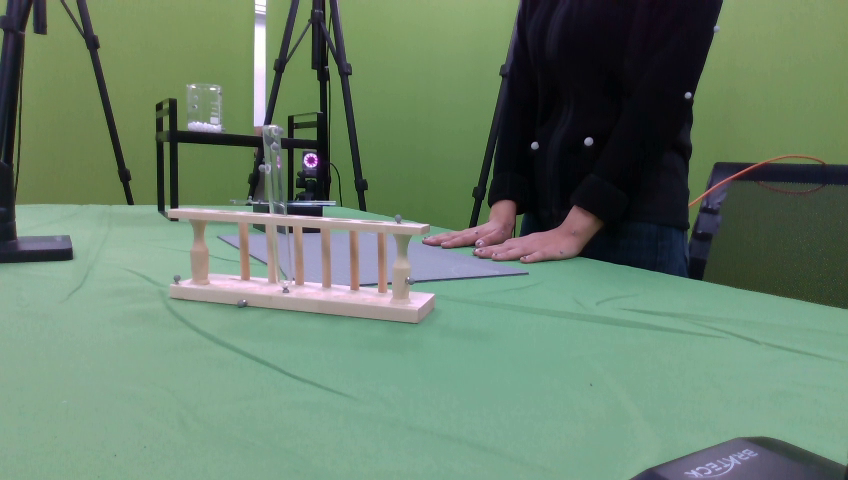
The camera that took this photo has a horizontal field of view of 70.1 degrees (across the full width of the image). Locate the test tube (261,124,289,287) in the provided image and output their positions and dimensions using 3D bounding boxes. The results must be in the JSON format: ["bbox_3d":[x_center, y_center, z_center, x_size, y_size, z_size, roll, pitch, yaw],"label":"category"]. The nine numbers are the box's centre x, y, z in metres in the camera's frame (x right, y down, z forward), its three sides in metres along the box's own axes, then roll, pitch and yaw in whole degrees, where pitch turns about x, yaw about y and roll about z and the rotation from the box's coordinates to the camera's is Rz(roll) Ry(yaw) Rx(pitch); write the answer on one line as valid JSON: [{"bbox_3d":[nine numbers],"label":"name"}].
[{"bbox_3d":[-0.137,-0.030,0.557,0.017,0.150,0.017,-3,6,1],"label":"test tube"}]

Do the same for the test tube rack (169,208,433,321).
[{"bbox_3d":[-0.115,0.018,0.574,0.242,0.085,0.067,4,8,13],"label":"test tube rack"}]

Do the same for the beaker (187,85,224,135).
[{"bbox_3d":[-0.466,-0.275,1.286,0.074,0.100,0.084,5,8,22],"label":"beaker"}]

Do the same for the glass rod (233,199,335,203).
[{"bbox_3d":[-0.264,-0.076,1.160,0.201,0.008,0.008,-3,9,-31],"label":"glass rod"}]
